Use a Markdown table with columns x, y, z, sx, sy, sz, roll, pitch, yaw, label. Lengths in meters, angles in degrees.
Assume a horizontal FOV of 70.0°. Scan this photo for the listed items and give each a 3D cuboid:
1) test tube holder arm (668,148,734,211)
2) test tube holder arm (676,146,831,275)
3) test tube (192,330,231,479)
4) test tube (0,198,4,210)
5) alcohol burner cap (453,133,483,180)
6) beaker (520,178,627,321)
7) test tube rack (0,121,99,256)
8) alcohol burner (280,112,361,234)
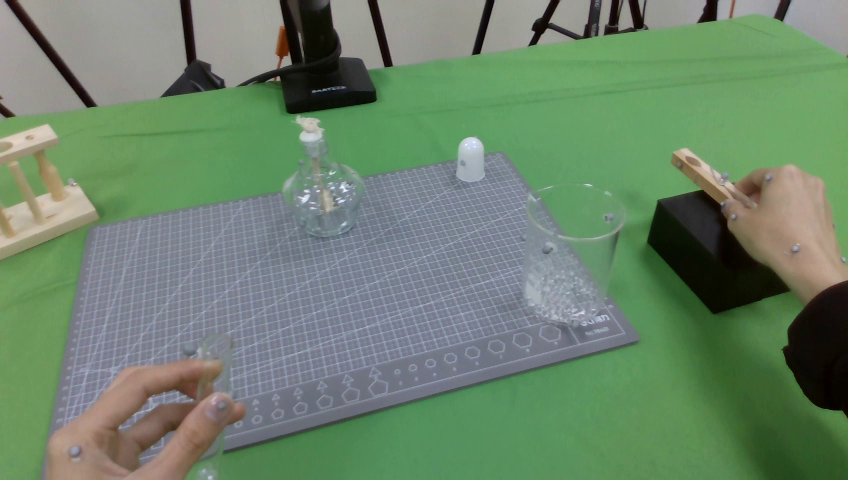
| x | y | z | sx | sy | sz | roll | pitch | yaw | label |
| --- | --- | --- | --- | --- | --- | --- | --- | --- | --- |
| 0.255 | -0.057 | 0.556 | 0.010 | 0.015 | 0.087 | -24 | 45 | -7 | test tube holder arm |
| 0.277 | -0.032 | 0.526 | 0.013 | 0.015 | 0.176 | -25 | 46 | -7 | test tube holder arm |
| -0.119 | 0.109 | 0.333 | 0.017 | 0.151 | 0.017 | 11 | 31 | -7 | test tube |
| -0.429 | -0.087 | 0.561 | 0.017 | 0.151 | 0.017 | -1 | 38 | 1 | test tube |
| 0.048 | -0.093 | 0.656 | 0.034 | 0.048 | 0.033 | -1 | 41 | 1 | alcohol burner cap |
| 0.114 | 0.010 | 0.494 | 0.074 | 0.101 | 0.083 | -34 | 50 | -31 | beaker |
| -0.450 | -0.020 | 0.560 | 0.242 | 0.086 | 0.066 | -29 | 48 | -28 | test tube rack |
| -0.101 | -0.065 | 0.575 | 0.078 | 0.120 | 0.077 | -2 | 40 | 2 | alcohol burner |
